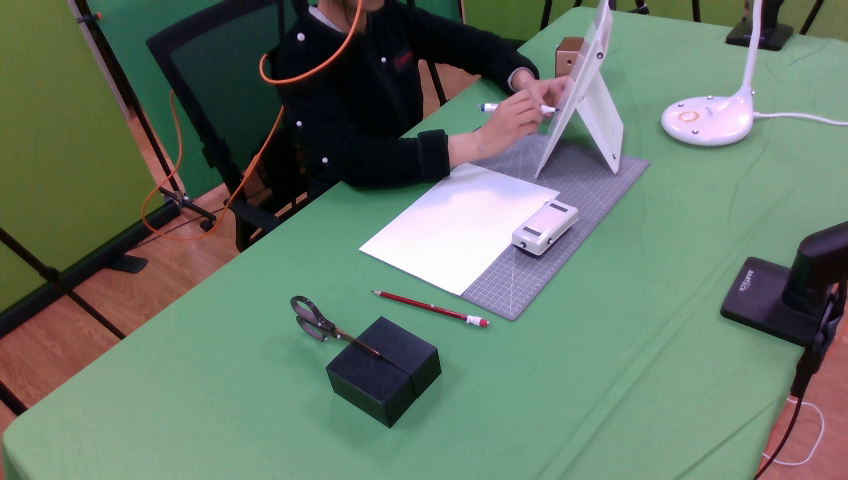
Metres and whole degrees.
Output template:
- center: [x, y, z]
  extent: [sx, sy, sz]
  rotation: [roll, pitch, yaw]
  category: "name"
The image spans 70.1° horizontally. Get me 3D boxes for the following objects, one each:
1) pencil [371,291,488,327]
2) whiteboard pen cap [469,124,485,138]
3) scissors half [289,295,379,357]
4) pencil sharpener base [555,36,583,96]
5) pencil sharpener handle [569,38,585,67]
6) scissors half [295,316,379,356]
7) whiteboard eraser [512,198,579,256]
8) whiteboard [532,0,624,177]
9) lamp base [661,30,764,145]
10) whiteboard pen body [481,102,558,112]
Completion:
- center: [0.003, 0.097, 0.877]
  extent: [0.193, 0.012, 0.012]
  rotation: [13, 45, 26]
  category: "pencil"
- center: [0.106, -0.220, 1.224]
  extent: [0.033, 0.018, 0.018]
  rotation: [-38, 48, -24]
  category: "whiteboard pen cap"
- center: [-0.122, 0.114, 0.803]
  extent: [0.174, 0.040, 0.013]
  rotation: [26, 50, 32]
  category: "scissors half"
- center: [0.318, -0.371, 1.290]
  extent: [0.061, 0.107, 0.076]
  rotation: [10, 44, 22]
  category: "pencil sharpener base"
- center: [0.333, -0.413, 1.318]
  extent: [0.036, 0.068, 0.030]
  rotation: [19, 46, 13]
  category: "pencil sharpener handle"
- center: [-0.119, 0.131, 0.813]
  extent: [0.174, 0.040, 0.013]
  rotation: [9, 34, 45]
  category: "scissors half"
- center: [0.191, -0.019, 0.949]
  extent: [0.055, 0.042, 0.113]
  rotation: [26, 51, 36]
  category: "whiteboard eraser"
- center: [0.320, -0.258, 1.050]
  extent: [0.144, 0.306, 0.217]
  rotation: [21, 45, 4]
  category: "whiteboard"
- center: [0.535, -0.287, 1.096]
  extent: [0.179, 0.181, 0.159]
  rotation: [-10, 40, -4]
  category: "lamp base"
- center: [0.173, -0.239, 1.090]
  extent: [0.140, 0.017, 0.017]
  rotation: [3, 42, 6]
  category: "whiteboard pen body"
